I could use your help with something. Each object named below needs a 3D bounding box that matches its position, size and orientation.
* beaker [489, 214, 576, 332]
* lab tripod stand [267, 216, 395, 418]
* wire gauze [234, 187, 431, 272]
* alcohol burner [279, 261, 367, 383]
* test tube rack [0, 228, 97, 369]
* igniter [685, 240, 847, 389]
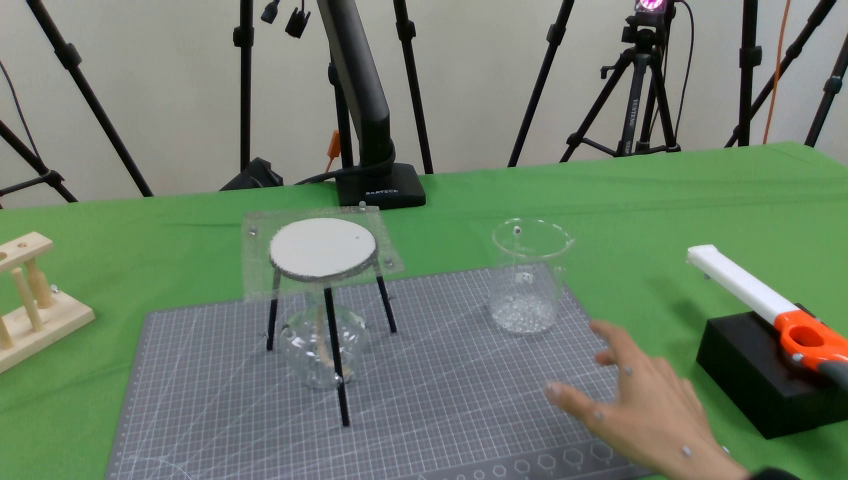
[{"bbox_3d":[0.104,0.035,0.604,0.084,0.101,0.073,-2,33,-5],"label":"beaker"},{"bbox_3d":[-0.080,0.059,0.532,0.148,0.132,0.147,2,33,-1],"label":"lab tripod stand"},{"bbox_3d":[-0.075,-0.010,0.485,0.125,0.011,0.120,-12,30,-33],"label":"wire gauze"},{"bbox_3d":[-0.090,0.068,0.536,0.078,0.120,0.077,2,32,-1],"label":"alcohol burner"},{"bbox_3d":[-0.433,0.086,0.535,0.066,0.086,0.242,20,37,27],"label":"test tube rack"},{"bbox_3d":[0.325,0.072,0.532,0.057,0.025,0.273,-8,30,-12],"label":"igniter"}]
